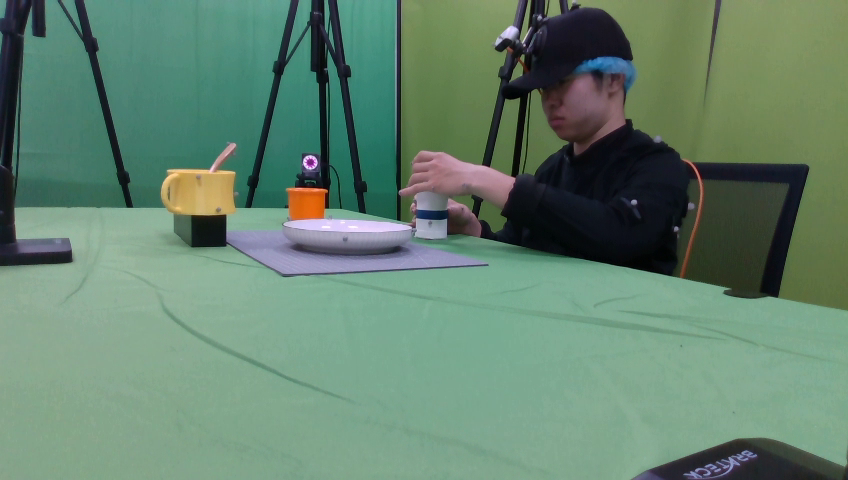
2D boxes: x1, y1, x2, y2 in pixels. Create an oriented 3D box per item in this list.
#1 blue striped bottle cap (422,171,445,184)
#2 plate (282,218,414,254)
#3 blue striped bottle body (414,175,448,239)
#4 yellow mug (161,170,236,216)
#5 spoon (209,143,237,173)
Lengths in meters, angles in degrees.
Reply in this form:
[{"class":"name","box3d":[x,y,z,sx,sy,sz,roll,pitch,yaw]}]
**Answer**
[{"class":"blue striped bottle cap","box3d":[0.017,-0.118,1.163,0.044,0.020,0.044,-2,24,1]},{"class":"plate","box3d":[-0.121,-0.007,0.971,0.208,0.039,0.207,2,7,0]},{"class":"blue striped bottle body","box3d":[0.014,-0.065,1.166,0.063,0.120,0.063,2,8,0]},{"class":"yellow mug","box3d":[-0.354,-0.074,0.935,0.099,0.064,0.131,5,10,21]},{"class":"spoon","box3d":[-0.341,-0.113,0.990,0.041,0.021,0.193,1,40,7]}]
